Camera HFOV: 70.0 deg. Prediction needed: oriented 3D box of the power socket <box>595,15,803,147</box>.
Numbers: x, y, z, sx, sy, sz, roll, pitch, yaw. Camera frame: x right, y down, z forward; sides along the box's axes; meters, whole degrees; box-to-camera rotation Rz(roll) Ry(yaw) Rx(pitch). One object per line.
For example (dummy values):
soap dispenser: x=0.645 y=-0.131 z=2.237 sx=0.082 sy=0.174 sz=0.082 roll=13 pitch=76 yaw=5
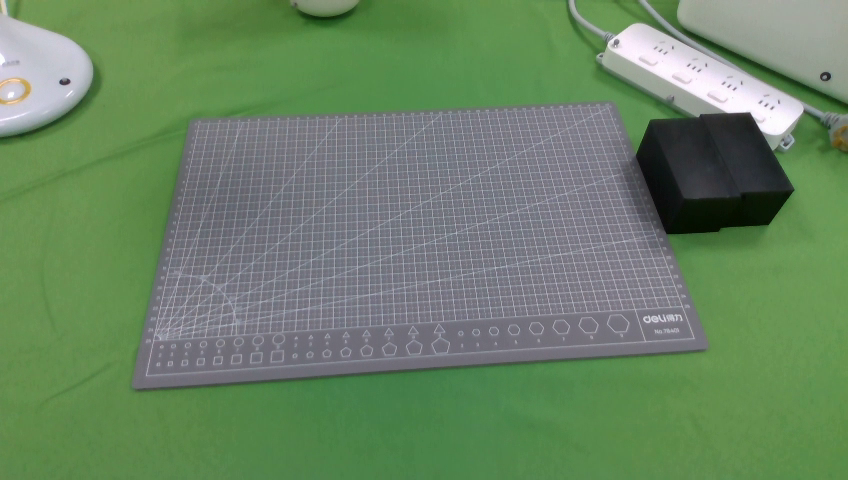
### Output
power socket: x=0.293 y=-0.176 z=0.654 sx=0.072 sy=0.033 sz=0.225 roll=-38 pitch=63 yaw=-25

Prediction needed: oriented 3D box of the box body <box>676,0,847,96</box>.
box body: x=0.501 y=-0.294 z=0.662 sx=0.361 sy=0.162 sz=0.254 roll=36 pitch=61 yaw=22

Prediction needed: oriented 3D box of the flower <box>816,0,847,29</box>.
flower: x=0.506 y=-0.261 z=0.725 sx=0.044 sy=0.038 sz=0.358 roll=-30 pitch=64 yaw=7

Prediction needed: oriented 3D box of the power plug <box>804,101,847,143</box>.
power plug: x=0.420 y=-0.119 z=0.624 sx=0.053 sy=0.035 sz=0.072 roll=-26 pitch=27 yaw=-29

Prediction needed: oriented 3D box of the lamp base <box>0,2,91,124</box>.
lamp base: x=-0.448 y=-0.233 z=0.589 sx=0.161 sy=0.182 sz=0.177 roll=-30 pitch=58 yaw=-21

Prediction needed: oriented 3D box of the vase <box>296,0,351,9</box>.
vase: x=-0.122 y=-0.368 z=0.682 sx=0.098 sy=0.201 sz=0.097 roll=1 pitch=53 yaw=-1
